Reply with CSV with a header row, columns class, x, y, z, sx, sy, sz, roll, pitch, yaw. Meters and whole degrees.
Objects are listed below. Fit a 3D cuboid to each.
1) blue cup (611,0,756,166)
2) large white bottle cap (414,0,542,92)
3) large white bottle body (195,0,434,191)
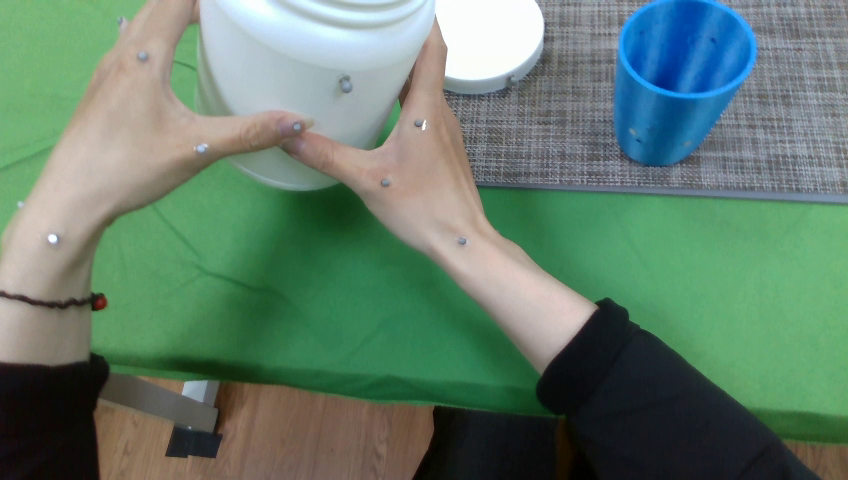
class,x,y,z,sx,sy,sz,roll,pitch,yaw
blue cup,0.172,-0.104,0.428,0.092,0.101,0.092,-3,64,7
large white bottle cap,0.044,-0.179,0.523,0.115,0.018,0.114,-2,66,5
large white bottle body,-0.071,-0.128,0.375,0.131,0.185,0.129,9,63,-18
